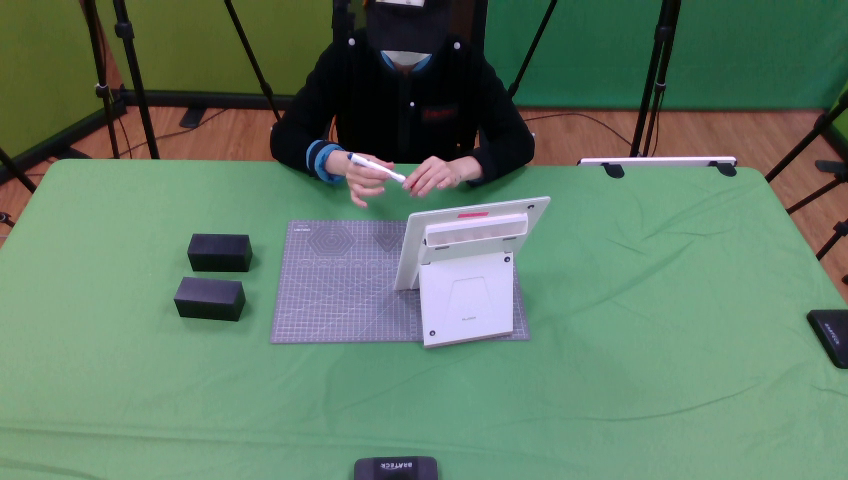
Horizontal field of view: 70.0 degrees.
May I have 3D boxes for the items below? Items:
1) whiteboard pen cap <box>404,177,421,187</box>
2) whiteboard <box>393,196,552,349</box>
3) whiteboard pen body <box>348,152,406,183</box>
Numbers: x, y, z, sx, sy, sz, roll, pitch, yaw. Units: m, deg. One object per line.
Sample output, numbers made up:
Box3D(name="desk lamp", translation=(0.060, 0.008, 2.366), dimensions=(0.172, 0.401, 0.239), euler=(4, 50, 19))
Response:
Box3D(name="whiteboard pen cap", translation=(-0.023, -0.112, 1.167), dimensions=(0.032, 0.017, 0.017), euler=(8, 45, -11))
Box3D(name="whiteboard", translation=(0.077, 0.071, 0.977), dimensions=(0.217, 0.306, 0.143), euler=(-7, 66, -11))
Box3D(name="whiteboard pen body", translation=(-0.078, -0.132, 1.148), dimensions=(0.141, 0.017, 0.017), euler=(23, 44, -17))
